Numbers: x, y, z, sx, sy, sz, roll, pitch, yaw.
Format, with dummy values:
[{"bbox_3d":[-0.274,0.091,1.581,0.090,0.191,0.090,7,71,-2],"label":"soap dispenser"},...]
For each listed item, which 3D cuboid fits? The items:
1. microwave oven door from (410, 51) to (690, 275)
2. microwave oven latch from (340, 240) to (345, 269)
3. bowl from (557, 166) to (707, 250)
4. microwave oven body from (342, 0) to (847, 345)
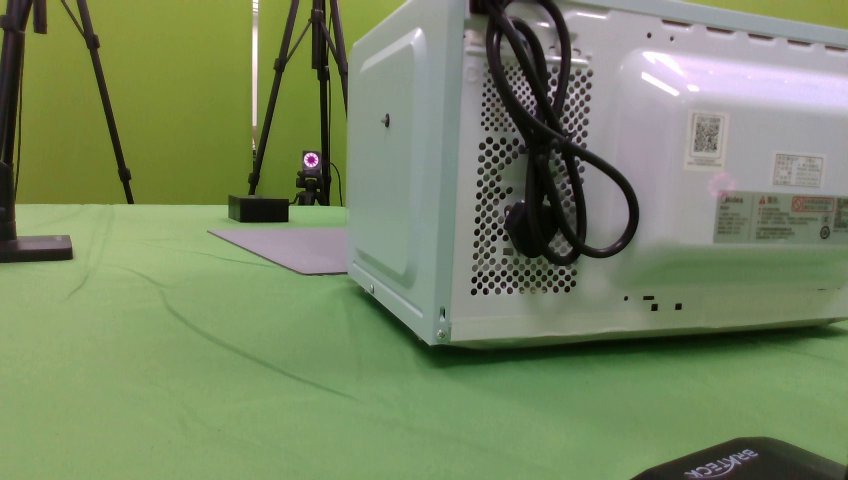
[{"bbox_3d":[0.161,-0.084,0.722,0.357,0.243,0.039,0,8,-20],"label":"microwave oven door"},{"bbox_3d":[-0.052,0.017,0.658,0.079,0.029,0.030,1,6,-13],"label":"microwave oven latch"},{"bbox_3d":[0.214,-0.035,0.640,0.151,0.077,0.151,2,11,0],"label":"bowl"},{"bbox_3d":[0.169,-0.059,0.572,0.444,0.260,0.324,1,7,-20],"label":"microwave oven body"}]
